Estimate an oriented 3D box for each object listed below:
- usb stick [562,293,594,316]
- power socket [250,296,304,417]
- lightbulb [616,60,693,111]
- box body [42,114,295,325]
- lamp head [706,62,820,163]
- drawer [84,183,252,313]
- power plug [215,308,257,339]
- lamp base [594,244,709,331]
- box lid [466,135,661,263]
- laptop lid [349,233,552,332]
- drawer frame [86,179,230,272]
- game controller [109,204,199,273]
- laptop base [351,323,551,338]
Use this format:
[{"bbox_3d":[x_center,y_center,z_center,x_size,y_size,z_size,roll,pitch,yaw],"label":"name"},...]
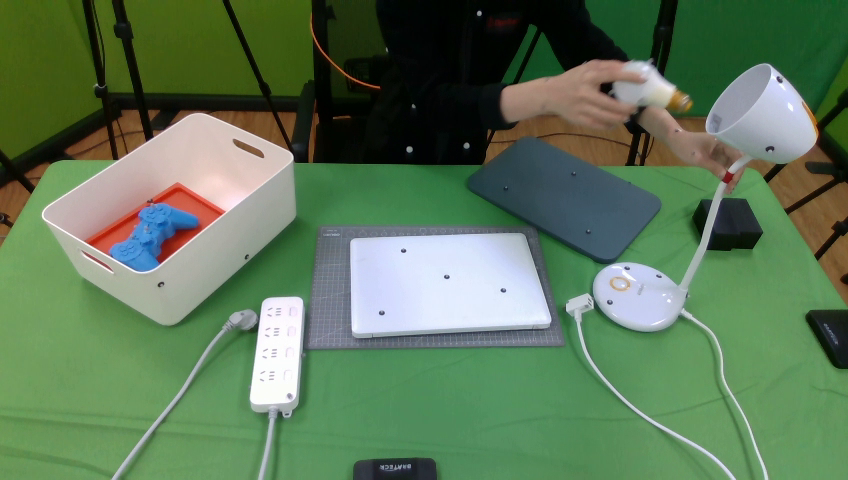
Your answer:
[{"bbox_3d":[0.275,0.118,1.087,0.021,0.059,0.027,38,45,-27],"label":"usb stick"},{"bbox_3d":[-0.239,0.182,0.996,0.072,0.033,0.225,-2,47,-5],"label":"power socket"},{"bbox_3d":[0.317,-0.207,0.833,0.107,0.060,0.059,27,50,9],"label":"lightbulb"},{"bbox_3d":[-0.437,-0.046,1.110,0.253,0.161,0.363,24,49,19],"label":"box body"},{"bbox_3d":[0.460,-0.156,0.813,0.123,0.112,0.112,36,47,-12],"label":"lamp head"},{"bbox_3d":[-0.457,0.008,1.099,0.194,0.073,0.211,29,49,21],"label":"drawer"},{"bbox_3d":[-0.317,0.143,1.024,0.072,0.053,0.035,-33,58,-8],"label":"power plug"},{"bbox_3d":[0.412,0.052,1.070,0.179,0.181,0.160,18,48,9],"label":"lamp base"},{"bbox_3d":[0.306,-0.102,1.327,0.370,0.015,0.263,32,52,25],"label":"box lid"},{"bbox_3d":[0.040,0.070,1.119,0.357,0.013,0.240,-1,44,-5],"label":"laptop lid"},{"bbox_3d":[-0.453,0.010,1.100,0.201,0.083,0.213,28,55,22],"label":"drawer frame"},{"bbox_3d":[-0.467,-0.005,1.044,0.097,0.052,0.154,8,45,10],"label":"game controller"},{"bbox_3d":[0.040,0.080,1.126,0.355,0.023,0.234,-2,43,-6],"label":"laptop base"}]
